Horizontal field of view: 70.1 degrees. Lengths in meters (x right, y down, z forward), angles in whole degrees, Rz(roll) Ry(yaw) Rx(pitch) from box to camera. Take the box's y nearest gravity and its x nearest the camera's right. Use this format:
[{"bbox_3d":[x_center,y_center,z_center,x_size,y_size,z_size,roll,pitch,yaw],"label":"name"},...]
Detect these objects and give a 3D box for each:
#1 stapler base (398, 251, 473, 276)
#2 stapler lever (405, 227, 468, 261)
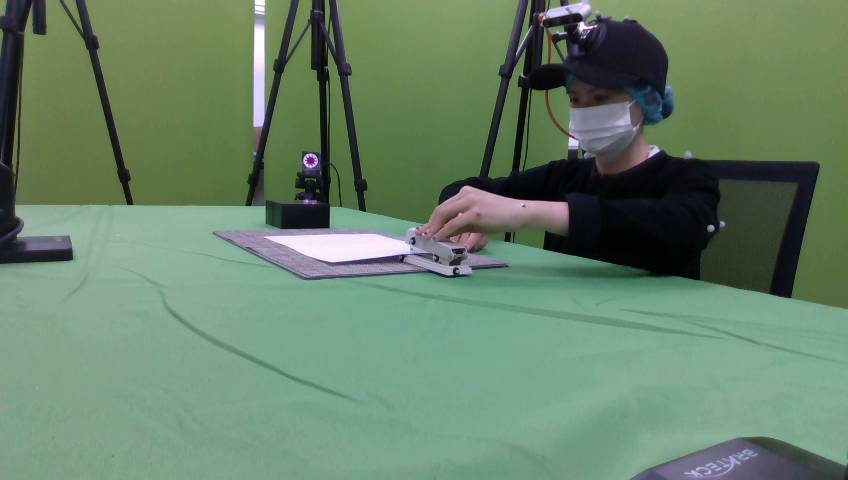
[{"bbox_3d":[0.012,0.024,0.797,0.041,0.024,0.130,-5,12,-33],"label":"stapler base"},{"bbox_3d":[0.014,0.005,0.794,0.027,0.040,0.117,-5,6,-33],"label":"stapler lever"}]
